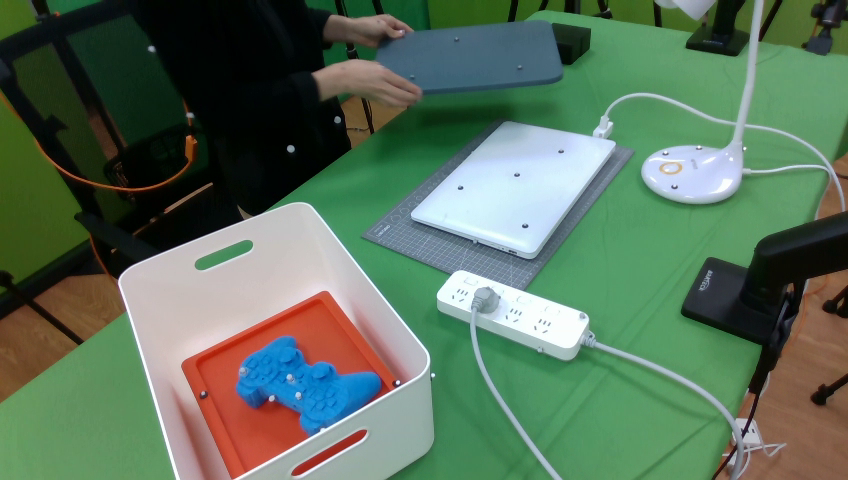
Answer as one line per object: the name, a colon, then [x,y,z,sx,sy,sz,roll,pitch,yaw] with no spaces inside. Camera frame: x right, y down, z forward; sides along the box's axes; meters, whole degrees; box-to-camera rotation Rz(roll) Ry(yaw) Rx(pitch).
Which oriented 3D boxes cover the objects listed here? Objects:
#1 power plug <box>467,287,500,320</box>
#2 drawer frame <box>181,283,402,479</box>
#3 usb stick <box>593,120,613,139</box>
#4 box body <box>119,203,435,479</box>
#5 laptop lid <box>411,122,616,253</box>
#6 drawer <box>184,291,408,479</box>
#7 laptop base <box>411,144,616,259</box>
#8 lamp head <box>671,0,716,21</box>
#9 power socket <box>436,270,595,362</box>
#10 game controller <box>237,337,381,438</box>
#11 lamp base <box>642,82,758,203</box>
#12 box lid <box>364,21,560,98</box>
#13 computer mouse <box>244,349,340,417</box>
power plug: [0.073,0.092,0.814,0.035,0.053,0.073,29,54,34]
drawer frame: [-0.153,0.179,0.727,0.202,0.083,0.211,-28,49,-20]
usb stick: [0.336,-0.201,1.147,0.021,0.027,0.059,27,54,26]
box body: [-0.175,0.142,0.725,0.255,0.161,0.360,-25,43,-20]
laptop lid: [0.165,-0.111,1.067,0.240,0.013,0.357,19,46,31]
drawer: [-0.154,0.182,0.724,0.195,0.073,0.210,-27,43,-22]
laptop base: [0.168,-0.101,1.074,0.234,0.023,0.355,17,46,30]
lamp head: [0.375,-0.373,0.807,0.122,0.113,0.112,-40,27,32]
power socket: [0.118,0.101,0.832,0.225,0.033,0.072,19,48,27]
game controller: [-0.135,0.157,0.674,0.154,0.052,0.097,17,50,27]
lamp base: [0.464,-0.174,0.992,0.179,0.181,0.159,-5,41,-1]
box lid: [0.076,-0.360,1.196,0.371,0.015,0.262,-3,42,6]
computer mouse: [-0.165,0.172,0.754,0.118,0.041,0.062,-18,34,-18]
